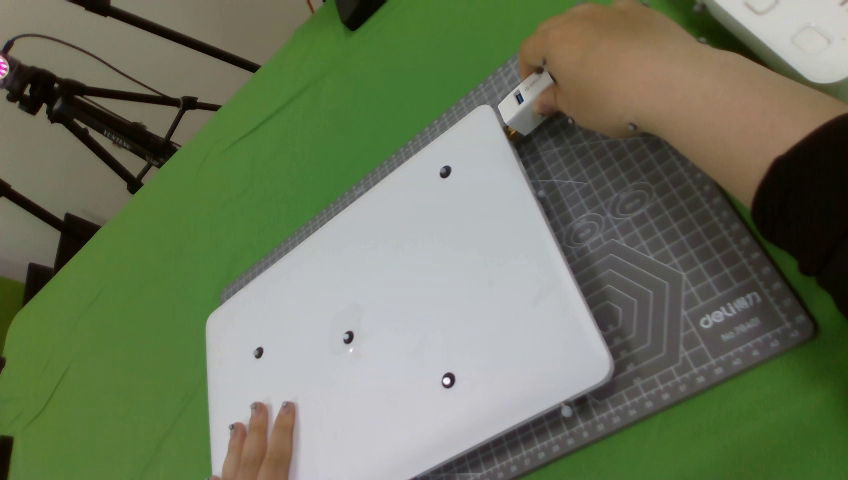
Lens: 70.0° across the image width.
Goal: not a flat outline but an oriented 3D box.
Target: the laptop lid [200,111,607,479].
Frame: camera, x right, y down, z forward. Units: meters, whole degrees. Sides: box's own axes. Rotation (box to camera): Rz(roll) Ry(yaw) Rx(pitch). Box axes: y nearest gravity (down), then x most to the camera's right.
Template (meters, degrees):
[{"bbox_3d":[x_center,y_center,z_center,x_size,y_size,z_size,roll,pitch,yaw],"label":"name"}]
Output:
[{"bbox_3d":[-0.059,0.082,0.462,0.356,0.013,0.239,-34,52,24],"label":"laptop lid"}]

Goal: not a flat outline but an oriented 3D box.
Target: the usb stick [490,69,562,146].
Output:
[{"bbox_3d":[0.067,-0.090,0.430,0.059,0.027,0.021,-47,44,35],"label":"usb stick"}]

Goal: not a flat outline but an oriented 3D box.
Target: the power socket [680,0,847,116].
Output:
[{"bbox_3d":[0.202,-0.160,0.365,0.072,0.033,0.224,-37,48,19],"label":"power socket"}]

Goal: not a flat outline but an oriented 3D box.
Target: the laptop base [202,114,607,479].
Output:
[{"bbox_3d":[-0.053,0.084,0.471,0.354,0.023,0.233,-35,53,22],"label":"laptop base"}]
